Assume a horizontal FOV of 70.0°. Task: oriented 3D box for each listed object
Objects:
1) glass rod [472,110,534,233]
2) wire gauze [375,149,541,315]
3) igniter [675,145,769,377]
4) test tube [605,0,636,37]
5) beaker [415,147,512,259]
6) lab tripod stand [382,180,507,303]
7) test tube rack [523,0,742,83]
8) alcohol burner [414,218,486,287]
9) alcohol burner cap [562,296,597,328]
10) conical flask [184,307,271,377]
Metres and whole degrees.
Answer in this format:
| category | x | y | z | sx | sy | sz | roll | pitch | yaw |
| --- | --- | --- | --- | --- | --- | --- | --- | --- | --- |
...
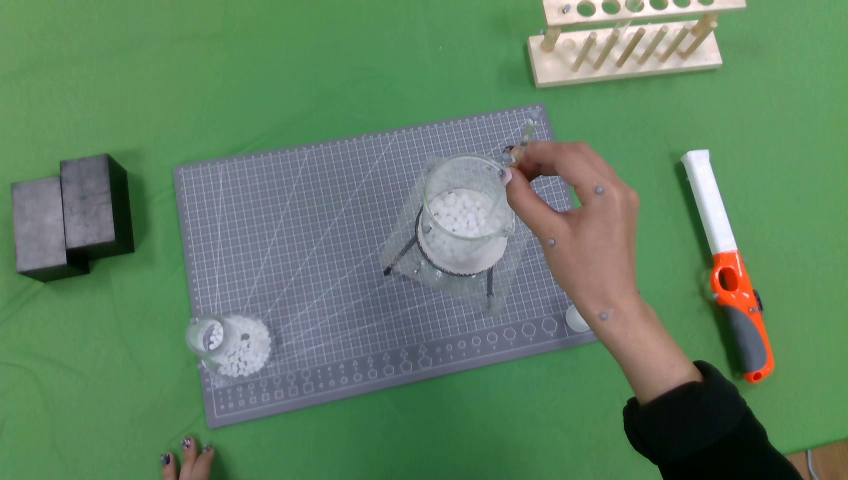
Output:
| category | x | y | z | sx | sy | sz | roll | pitch | yaw |
| --- | --- | --- | --- | --- | --- | --- | --- | --- | --- |
| glass rod | 0.056 | -0.044 | 0.466 | 0.008 | 0.200 | 0.008 | 2 | 69 | -5 |
| wire gauze | 0.033 | -0.011 | 0.568 | 0.125 | 0.011 | 0.121 | 25 | 78 | 1 |
| igniter | 0.348 | 0.019 | 0.709 | 0.057 | 0.025 | 0.275 | -7 | 77 | -17 |
| test tube | 0.237 | -0.279 | 0.694 | 0.017 | 0.151 | 0.017 | 0 | 76 | -1 |
| beaker | 0.032 | -0.025 | 0.522 | 0.084 | 0.100 | 0.074 | 38 | 77 | 6 |
| lab tripod stand | 0.027 | 0.004 | 0.632 | 0.148 | 0.132 | 0.147 | 1 | 77 | -3 |
| test tube rack | 0.253 | -0.255 | 0.740 | 0.243 | 0.085 | 0.066 | -8 | 76 | -6 |
| alcohol burner | 0.029 | 0.010 | 0.641 | 0.078 | 0.119 | 0.077 | 0 | 77 | -2 |
| alcohol burner cap | 0.175 | 0.077 | 0.671 | 0.034 | 0.048 | 0.033 | 1 | 75 | -4 |
| conical flask | -0.199 | 0.096 | 0.599 | 0.075 | 0.122 | 0.075 | 1 | 75 | -4 |
